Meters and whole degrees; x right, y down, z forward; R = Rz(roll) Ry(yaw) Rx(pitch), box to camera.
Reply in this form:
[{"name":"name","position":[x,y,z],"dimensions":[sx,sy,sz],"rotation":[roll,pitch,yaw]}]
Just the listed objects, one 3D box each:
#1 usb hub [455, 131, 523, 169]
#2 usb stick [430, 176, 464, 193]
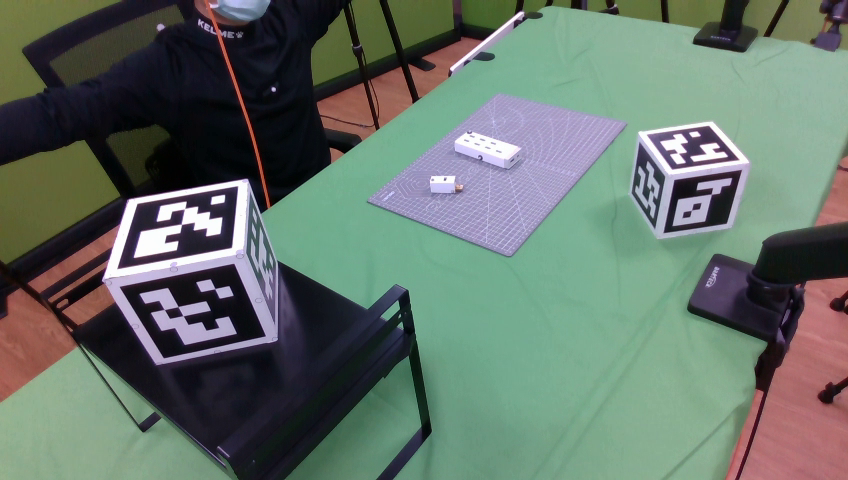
[{"name":"usb hub","position":[0.122,-0.172,1.147],"dimensions":[0.124,0.025,0.049],"rotation":[25,50,31]},{"name":"usb stick","position":[0.042,-0.098,1.071],"dimensions":[0.059,0.027,0.021],"rotation":[4,40,8]}]
